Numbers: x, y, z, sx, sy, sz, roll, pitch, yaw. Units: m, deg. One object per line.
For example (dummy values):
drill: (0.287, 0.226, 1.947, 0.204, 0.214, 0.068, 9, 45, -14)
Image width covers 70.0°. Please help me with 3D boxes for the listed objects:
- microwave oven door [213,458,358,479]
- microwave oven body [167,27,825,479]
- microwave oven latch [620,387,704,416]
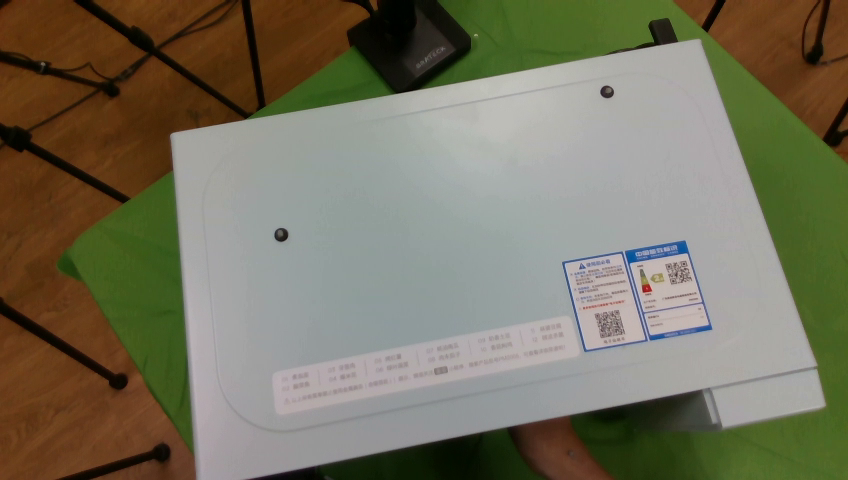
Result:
microwave oven door: (0.008, 0.274, 0.493, 0.355, 0.245, 0.039, 25, 77, 8)
microwave oven body: (0.040, 0.028, 0.567, 0.442, 0.261, 0.324, -11, 75, -1)
microwave oven latch: (0.245, 0.162, 0.626, 0.079, 0.029, 0.030, -9, 75, -1)
